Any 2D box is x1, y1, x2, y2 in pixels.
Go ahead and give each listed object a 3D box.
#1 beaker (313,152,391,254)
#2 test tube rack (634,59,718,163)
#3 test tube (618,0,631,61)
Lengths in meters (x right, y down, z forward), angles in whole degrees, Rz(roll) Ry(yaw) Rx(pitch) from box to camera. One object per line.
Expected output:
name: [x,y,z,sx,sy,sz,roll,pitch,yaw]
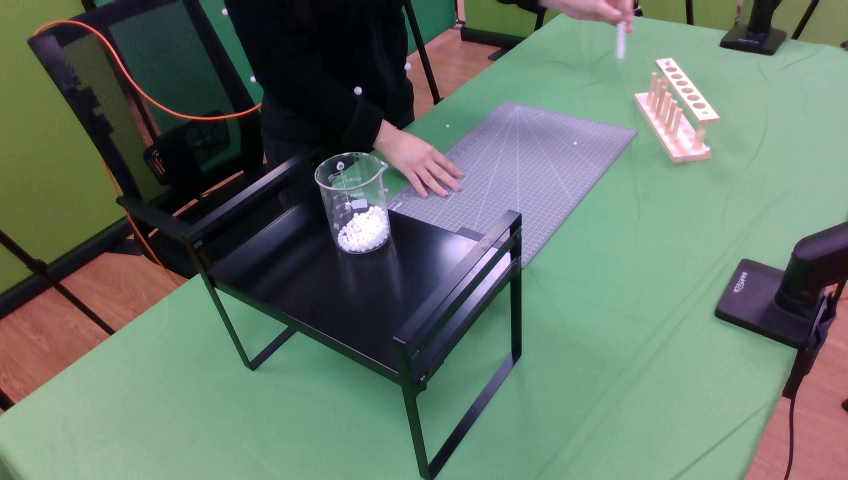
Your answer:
beaker: [-0.076,-0.041,0.698,0.084,0.101,0.073,-15,41,-10]
test tube rack: [0.470,-0.250,1.148,0.067,0.085,0.241,-6,40,3]
test tube: [0.359,-0.394,1.080,0.017,0.151,0.017,-6,36,5]
